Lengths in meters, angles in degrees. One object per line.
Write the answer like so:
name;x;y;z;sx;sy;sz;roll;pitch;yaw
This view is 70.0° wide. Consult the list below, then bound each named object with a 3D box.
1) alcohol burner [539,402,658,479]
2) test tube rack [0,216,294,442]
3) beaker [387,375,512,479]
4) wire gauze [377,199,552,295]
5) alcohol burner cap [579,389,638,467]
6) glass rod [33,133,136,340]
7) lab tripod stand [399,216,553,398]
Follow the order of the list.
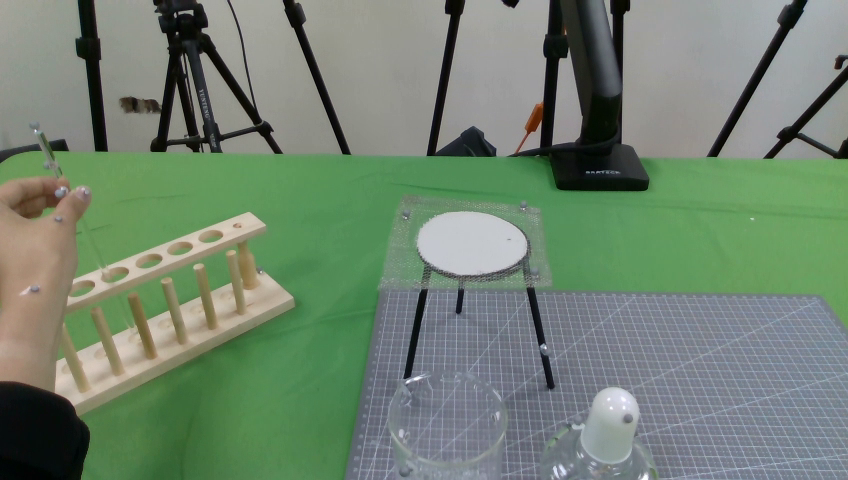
alcohol burner;0.115;0.143;0.394;0.078;0.120;0.077;0;36;1
test tube rack;-0.244;0.069;0.544;0.242;0.086;0.066;-27;41;-33
beaker;0.014;0.149;0.401;0.074;0.101;0.083;-28;42;-34
wire gauze;0.033;0.003;0.466;0.121;0.011;0.124;3;35;4
alcohol burner cap;0.116;0.113;0.374;0.034;0.048;0.033;2;36;-1
glass rod;-0.274;0.006;0.496;0.008;0.201;0.008;-4;33;3
lab tripod stand;0.042;0.058;0.505;0.148;0.132;0.147;1;33;0
